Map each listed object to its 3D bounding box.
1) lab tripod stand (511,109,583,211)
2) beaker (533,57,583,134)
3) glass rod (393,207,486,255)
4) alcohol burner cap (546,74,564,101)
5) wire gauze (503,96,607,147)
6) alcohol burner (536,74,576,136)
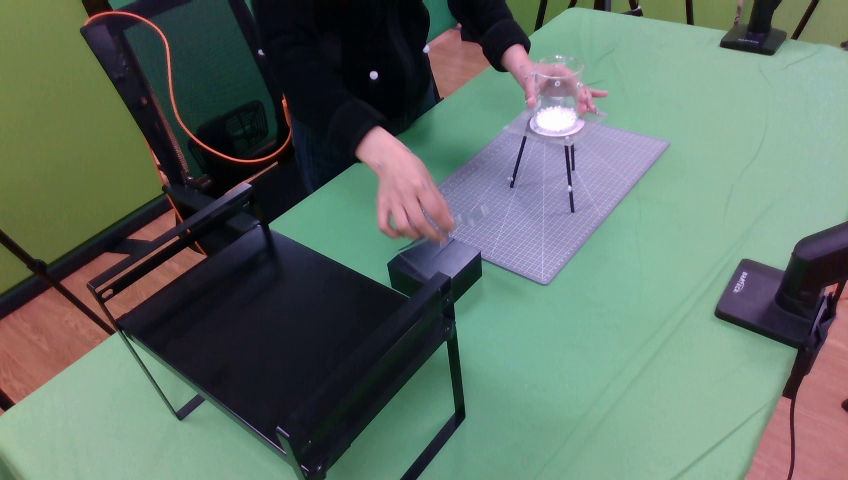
[{"bbox_3d":[0.220,-0.138,1.014,0.148,0.132,0.147,-3,41,3],"label":"lab tripod stand"},{"bbox_3d":[0.208,-0.225,0.941,0.073,0.101,0.084,10,44,20],"label":"beaker"},{"bbox_3d":[0.016,-0.010,0.839,0.198,0.008,0.008,-26,20,46],"label":"glass rod"},{"bbox_3d":[0.251,-0.293,1.151,0.034,0.048,0.033,0,41,1],"label":"alcohol burner cap"},{"bbox_3d":[0.211,-0.191,0.976,0.120,0.011,0.125,24,52,32],"label":"wire gauze"},{"bbox_3d":[0.256,-0.264,1.173,0.078,0.119,0.077,-6,40,6],"label":"alcohol burner"}]
